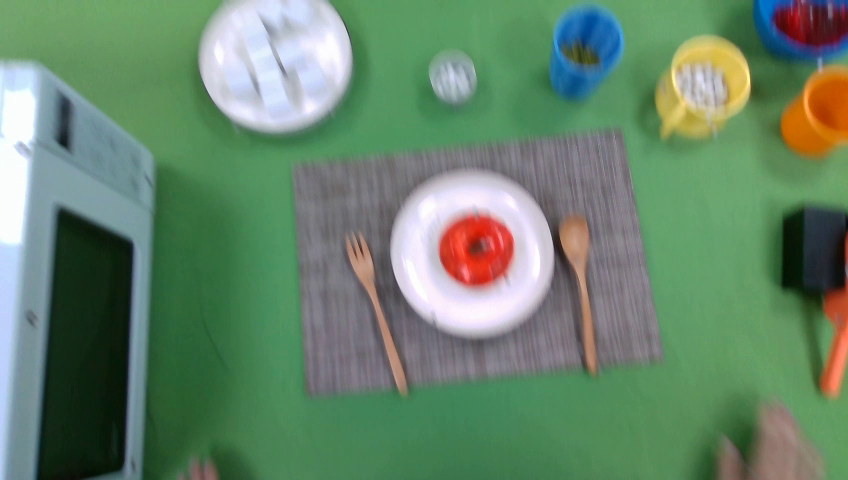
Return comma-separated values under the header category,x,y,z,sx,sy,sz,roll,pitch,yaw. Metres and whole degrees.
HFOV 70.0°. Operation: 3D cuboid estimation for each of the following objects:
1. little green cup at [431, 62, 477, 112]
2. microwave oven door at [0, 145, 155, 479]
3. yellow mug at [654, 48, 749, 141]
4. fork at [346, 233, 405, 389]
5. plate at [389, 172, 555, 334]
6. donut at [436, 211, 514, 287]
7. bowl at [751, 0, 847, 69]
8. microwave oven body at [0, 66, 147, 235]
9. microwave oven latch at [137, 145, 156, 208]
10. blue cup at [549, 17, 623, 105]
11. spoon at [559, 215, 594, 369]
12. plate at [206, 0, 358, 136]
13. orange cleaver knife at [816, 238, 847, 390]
category,x,y,z,sx,sy,sz,roll,pitch,yaw
little green cup,0.041,-0.206,0.827,0.061,0.039,0.061,0,77,2
microwave oven door,-0.369,0.107,0.648,0.039,0.245,0.354,-3,77,2
yellow mug,0.352,-0.180,0.796,0.099,0.064,0.131,42,83,10
fork,-0.060,0.088,0.770,0.028,0.019,0.206,-16,76,-17
plate,0.060,0.017,0.773,0.209,0.038,0.208,0,78,2
donut,0.064,0.012,0.763,0.099,0.048,0.098,-1,79,4
bowl,0.502,-0.287,0.808,0.151,0.077,0.150,0,78,3
microwave oven body,-0.516,0.074,0.666,0.326,0.261,0.439,-3,78,1
microwave oven latch,-0.371,-0.083,0.794,0.030,0.029,0.079,-1,78,1
blue cup,0.203,-0.225,0.793,0.092,0.100,0.092,0,79,1
spoon,0.198,0.065,0.765,0.042,0.021,0.192,0,76,-22
plate,-0.194,-0.238,0.841,0.207,0.039,0.206,0,77,2
orange cleaver knife,0.501,0.076,0.726,0.012,0.077,0.212,9,107,7
